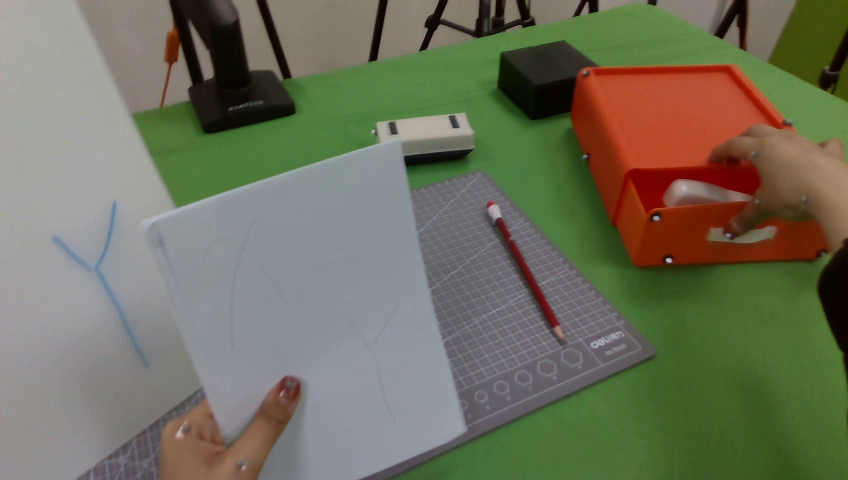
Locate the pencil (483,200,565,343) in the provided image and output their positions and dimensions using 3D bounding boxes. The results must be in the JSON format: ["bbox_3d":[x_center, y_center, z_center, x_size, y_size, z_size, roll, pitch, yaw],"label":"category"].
[{"bbox_3d":[0.092,0.023,0.576,0.012,0.012,0.192,-11,45,-11],"label":"pencil"}]

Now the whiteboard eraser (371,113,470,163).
[{"bbox_3d":[-0.005,-0.120,0.719,0.113,0.042,0.055,-7,43,-8],"label":"whiteboard eraser"}]

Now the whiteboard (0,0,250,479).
[{"bbox_3d":[-0.303,0.008,0.421,0.142,0.308,0.217,14,41,45],"label":"whiteboard"}]

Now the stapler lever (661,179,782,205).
[{"bbox_3d":[0.292,-0.038,0.587,0.118,0.040,0.026,1,50,6],"label":"stapler lever"}]

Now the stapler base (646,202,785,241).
[{"bbox_3d":[0.292,-0.023,0.603,0.130,0.024,0.041,3,50,4],"label":"stapler base"}]

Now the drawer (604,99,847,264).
[{"bbox_3d":[0.286,-0.073,0.634,0.194,0.074,0.209,-3,42,-2],"label":"drawer"}]

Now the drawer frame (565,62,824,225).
[{"bbox_3d":[0.281,-0.113,0.676,0.202,0.083,0.211,-4,41,-2],"label":"drawer frame"}]
